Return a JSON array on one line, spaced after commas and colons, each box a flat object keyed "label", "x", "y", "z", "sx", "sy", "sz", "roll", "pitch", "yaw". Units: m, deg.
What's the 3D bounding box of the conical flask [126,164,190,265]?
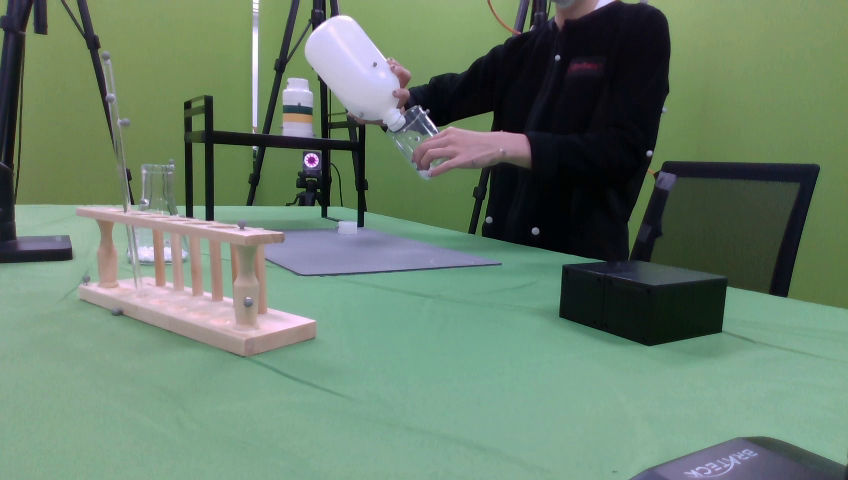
[{"label": "conical flask", "x": -0.332, "y": -0.033, "z": 0.756, "sx": 0.075, "sy": 0.122, "sz": 0.075, "roll": 2, "pitch": 7, "yaw": 0}]

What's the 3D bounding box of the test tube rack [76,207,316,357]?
[{"label": "test tube rack", "x": -0.196, "y": 0.023, "z": 0.500, "sx": 0.241, "sy": 0.085, "sz": 0.067, "roll": 8, "pitch": 9, "yaw": 36}]

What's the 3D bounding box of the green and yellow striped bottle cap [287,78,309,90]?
[{"label": "green and yellow striped bottle cap", "x": -0.265, "y": -0.326, "z": 1.268, "sx": 0.045, "sy": 0.020, "sz": 0.045, "roll": 4, "pitch": 6, "yaw": 0}]

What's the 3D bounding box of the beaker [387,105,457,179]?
[{"label": "beaker", "x": -0.002, "y": -0.154, "z": 0.967, "sx": 0.074, "sy": 0.100, "sz": 0.084, "roll": -40, "pitch": -6, "yaw": 20}]

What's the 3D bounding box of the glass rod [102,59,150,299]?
[{"label": "glass rod", "x": -0.243, "y": -0.045, "z": 0.496, "sx": 0.008, "sy": 0.199, "sz": 0.008, "roll": -4, "pitch": 13, "yaw": 1}]

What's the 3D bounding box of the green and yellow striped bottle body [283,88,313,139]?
[{"label": "green and yellow striped bottle body", "x": -0.266, "y": -0.275, "z": 1.275, "sx": 0.063, "sy": 0.119, "sz": 0.063, "roll": 2, "pitch": 7, "yaw": 0}]

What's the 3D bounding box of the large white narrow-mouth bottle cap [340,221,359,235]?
[{"label": "large white narrow-mouth bottle cap", "x": -0.139, "y": -0.023, "z": 1.127, "sx": 0.038, "sy": 0.024, "sz": 0.037, "roll": 4, "pitch": 8, "yaw": 0}]

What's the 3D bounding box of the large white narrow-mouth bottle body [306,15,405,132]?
[{"label": "large white narrow-mouth bottle body", "x": -0.099, "y": -0.260, "z": 0.981, "sx": 0.102, "sy": 0.194, "sz": 0.102, "roll": -37, "pitch": -3, "yaw": -2}]
